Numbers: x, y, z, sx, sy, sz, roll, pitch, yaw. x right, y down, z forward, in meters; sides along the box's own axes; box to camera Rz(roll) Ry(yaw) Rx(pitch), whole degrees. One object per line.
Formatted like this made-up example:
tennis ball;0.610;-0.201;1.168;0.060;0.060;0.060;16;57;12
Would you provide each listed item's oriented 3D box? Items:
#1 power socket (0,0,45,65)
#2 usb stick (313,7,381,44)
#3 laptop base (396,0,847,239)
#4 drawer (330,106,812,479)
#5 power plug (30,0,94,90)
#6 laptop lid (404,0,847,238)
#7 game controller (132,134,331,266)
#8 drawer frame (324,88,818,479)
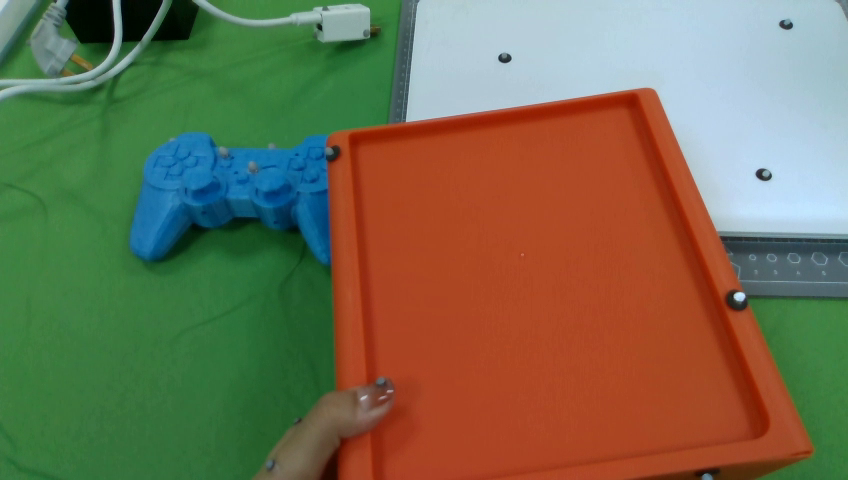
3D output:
power socket;-0.401;-0.239;0.573;0.072;0.033;0.225;5;58;4
usb stick;-0.065;-0.185;0.522;0.059;0.027;0.021;-15;35;-32
laptop base;0.162;-0.101;0.468;0.354;0.023;0.233;1;61;3
drawer;0.055;0.035;0.326;0.194;0.074;0.209;-8;59;-1
power plug;-0.292;-0.164;0.503;0.072;0.053;0.035;-52;35;6
laptop lid;0.162;-0.105;0.457;0.356;0.013;0.239;3;61;5
game controller;-0.123;-0.033;0.425;0.155;0.052;0.096;2;54;4
drawer frame;0.053;0.033;0.328;0.202;0.083;0.211;-9;58;0
